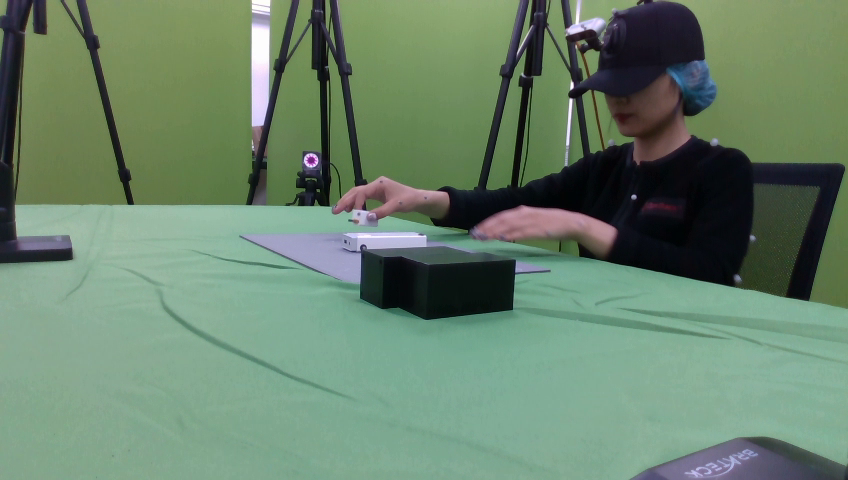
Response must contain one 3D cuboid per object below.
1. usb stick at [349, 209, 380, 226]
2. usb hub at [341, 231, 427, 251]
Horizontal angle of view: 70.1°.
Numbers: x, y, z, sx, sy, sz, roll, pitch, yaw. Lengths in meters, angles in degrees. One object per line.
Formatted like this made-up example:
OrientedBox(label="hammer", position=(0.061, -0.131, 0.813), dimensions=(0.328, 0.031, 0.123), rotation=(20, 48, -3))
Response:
OrientedBox(label="usb stick", position=(-0.103, -0.039, 1.028), dimensions=(0.021, 0.027, 0.059), rotation=(12, 8, 38))
OrientedBox(label="usb hub", position=(-0.061, 0.001, 0.935), dimensions=(0.126, 0.025, 0.049), rotation=(-2, 9, -26))
